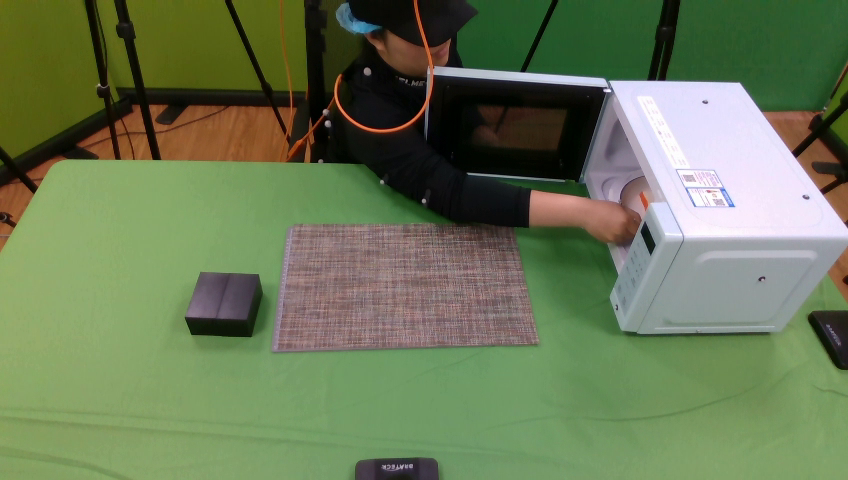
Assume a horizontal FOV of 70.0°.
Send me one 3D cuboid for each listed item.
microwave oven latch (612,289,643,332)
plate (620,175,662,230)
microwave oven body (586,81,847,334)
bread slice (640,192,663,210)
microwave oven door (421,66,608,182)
[{"bbox_3d":[0.357,0.124,1.068,0.030,0.029,0.078,0,45,-3],"label":"microwave oven latch"},{"bbox_3d":[0.486,-0.052,1.180,0.209,0.038,0.208,2,43,-2],"label":"plate"},{"bbox_3d":[0.501,-0.070,1.132,0.326,0.261,0.438,-1,45,-3],"label":"microwave oven body"},{"bbox_3d":[0.489,-0.050,1.182,0.105,0.019,0.131,3,42,1],"label":"bread slice"},{"bbox_3d":[0.177,-0.237,1.264,0.356,0.245,0.039,4,46,0],"label":"microwave oven door"}]
